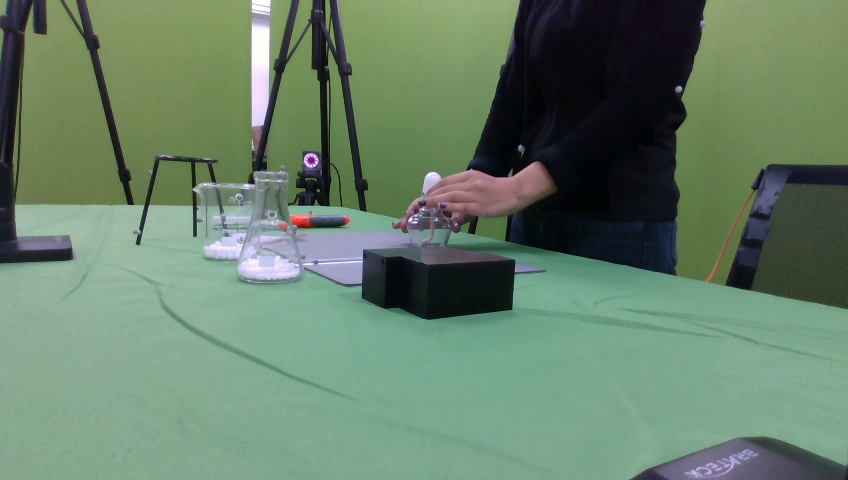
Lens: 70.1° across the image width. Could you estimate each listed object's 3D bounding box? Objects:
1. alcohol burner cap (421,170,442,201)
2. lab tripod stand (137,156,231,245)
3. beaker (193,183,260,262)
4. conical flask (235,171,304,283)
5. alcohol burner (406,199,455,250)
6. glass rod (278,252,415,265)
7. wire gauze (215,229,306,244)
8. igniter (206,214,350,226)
[{"bbox_3d":[0.013,-0.087,0.956,0.034,0.048,0.034,6,12,-1],"label":"alcohol burner cap"},{"bbox_3d":[-0.358,-0.061,0.927,0.148,0.131,0.148,4,6,0],"label":"lab tripod stand"},{"bbox_3d":[-0.262,-0.025,0.806,0.084,0.100,0.073,-3,9,-30],"label":"beaker"},{"bbox_3d":[-0.172,-0.016,0.677,0.075,0.122,0.075,2,7,0],"label":"conical flask"},{"bbox_3d":[0.011,-0.044,0.963,0.078,0.119,0.078,4,7,0],"label":"alcohol burner"},{"bbox_3d":[-0.097,0.024,0.805,0.201,0.008,0.008,-3,8,-33],"label":"glass rod"},{"bbox_3d":[-0.273,-0.009,1.013,0.122,0.011,0.124,-2,9,-33],"label":"wire gauze"},{"bbox_3d":[-0.279,-0.038,1.185,0.278,0.025,0.057,-2,-1,-30],"label":"igniter"}]
